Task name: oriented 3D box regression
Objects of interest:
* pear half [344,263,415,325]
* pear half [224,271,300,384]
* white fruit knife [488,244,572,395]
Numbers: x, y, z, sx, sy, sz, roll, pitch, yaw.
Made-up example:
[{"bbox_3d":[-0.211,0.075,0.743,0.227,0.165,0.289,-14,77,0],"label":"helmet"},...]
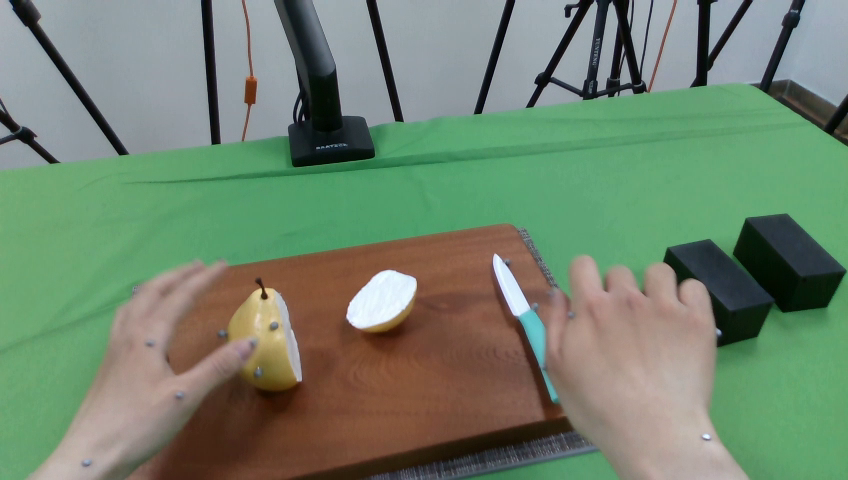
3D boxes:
[{"bbox_3d":[-0.038,0.055,0.572,0.070,0.031,0.087,-13,24,8],"label":"pear half"},{"bbox_3d":[-0.138,0.069,0.497,0.056,0.111,0.075,-14,37,-15],"label":"pear half"},{"bbox_3d":[0.094,0.064,0.572,0.027,0.016,0.205,4,35,-17],"label":"white fruit knife"}]
